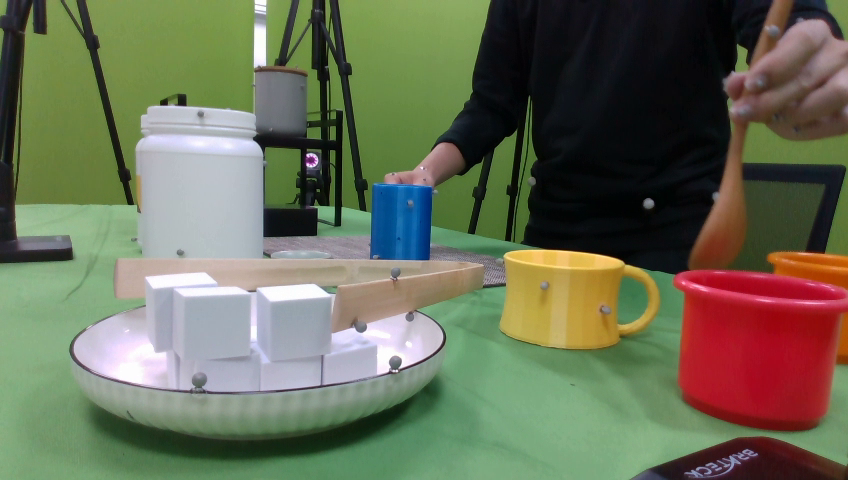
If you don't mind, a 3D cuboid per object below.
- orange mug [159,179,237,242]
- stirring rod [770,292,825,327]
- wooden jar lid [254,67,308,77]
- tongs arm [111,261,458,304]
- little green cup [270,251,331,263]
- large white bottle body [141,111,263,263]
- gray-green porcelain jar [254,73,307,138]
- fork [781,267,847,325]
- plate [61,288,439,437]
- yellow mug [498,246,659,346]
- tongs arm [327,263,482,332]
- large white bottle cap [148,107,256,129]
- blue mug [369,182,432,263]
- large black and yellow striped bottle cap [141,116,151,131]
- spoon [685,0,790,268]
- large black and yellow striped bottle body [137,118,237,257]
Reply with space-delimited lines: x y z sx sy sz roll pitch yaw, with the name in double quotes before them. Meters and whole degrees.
"orange mug" -0.368 -0.051 0.991 0.127 0.101 0.083 -10 14 -41
"stirring rod" 0.349 0.022 0.469 0.014 0.006 0.175 -12 -27 -49
"wooden jar lid" -0.296 -0.339 1.250 0.108 0.020 0.108 1 7 0
"tongs arm" -0.080 0.032 0.527 0.028 0.027 0.389 -3 -3 33
"little green cup" -0.129 0.034 0.629 0.061 0.038 0.061 2 6 0
"large white bottle body" -0.254 -0.053 0.697 0.131 0.184 0.130 2 7 0
"gray-green porcelain jar" -0.298 -0.277 1.259 0.106 0.126 0.106 3 8 0
"fork" 0.324 0.018 0.441 0.028 0.018 0.207 0 -36 -3
"plate" -0.095 0.069 0.362 0.208 0.039 0.207 3 7 0
"yellow mug" 0.130 0.045 0.508 0.131 0.064 0.100 4 7 5
"tongs arm" -0.003 0.036 0.493 0.050 0.026 0.386 1 0 19
"large white bottle cap" -0.250 -0.137 0.686 0.115 0.018 0.115 3 8 0
"blue mug" -0.027 -0.027 0.837 0.082 0.106 0.117 4 7 17
"large black and yellow striped bottle cap" -0.329 -0.158 0.837 0.115 0.019 0.115 2 6 0
"spoon" 0.209 -0.070 0.403 0.042 0.193 0.021 0 16 -22
"large black and yellow striped bottle body" -0.330 -0.075 0.849 0.131 0.184 0.130 2 8 0
